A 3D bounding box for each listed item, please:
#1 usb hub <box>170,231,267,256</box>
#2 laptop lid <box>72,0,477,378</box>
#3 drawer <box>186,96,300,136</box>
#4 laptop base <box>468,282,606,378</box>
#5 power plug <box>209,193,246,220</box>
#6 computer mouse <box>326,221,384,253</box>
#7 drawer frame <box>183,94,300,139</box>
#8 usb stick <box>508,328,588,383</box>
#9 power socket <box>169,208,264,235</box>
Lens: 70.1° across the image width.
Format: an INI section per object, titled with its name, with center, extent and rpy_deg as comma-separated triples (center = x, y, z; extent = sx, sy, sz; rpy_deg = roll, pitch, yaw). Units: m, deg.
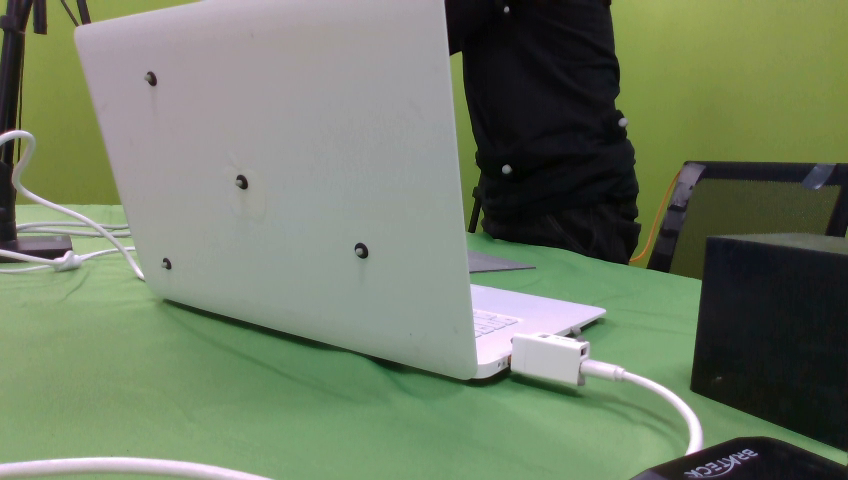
[usb hub]
center = -0.291, 0.004, 0.863
extent = 0.049, 0.025, 0.126
rpy_deg = 10, 11, 42
[laptop lid]
center = -0.125, -0.042, 0.418
extent = 0.355, 0.241, 0.013
rpy_deg = 9, 25, 34
[drawer]
center = -0.413, -0.275, 1.370
extent = 0.195, 0.073, 0.210
rpy_deg = -4, 9, -35
[laptop base]
center = -0.042, 0.058, 0.554
extent = 0.352, 0.023, 0.237
rpy_deg = 7, 7, 35
[power plug]
center = -0.388, -0.067, 1.206
extent = 0.072, 0.052, 0.035
rpy_deg = 4, 8, 28
[computer mouse]
center = -0.103, -0.005, 0.926
extent = 0.063, 0.041, 0.117
rpy_deg = 5, 11, 11
[drawer frame]
center = -0.416, -0.276, 1.371
extent = 0.203, 0.082, 0.212
rpy_deg = -4, 9, -36
[usb stick]
center = 0.072, 0.071, 0.383
extent = 0.059, 0.027, 0.021
rpy_deg = 1, 3, 34
[power socket]
center = -0.381, -0.038, 1.129
extent = 0.072, 0.032, 0.227
rpy_deg = 4, 8, 16
